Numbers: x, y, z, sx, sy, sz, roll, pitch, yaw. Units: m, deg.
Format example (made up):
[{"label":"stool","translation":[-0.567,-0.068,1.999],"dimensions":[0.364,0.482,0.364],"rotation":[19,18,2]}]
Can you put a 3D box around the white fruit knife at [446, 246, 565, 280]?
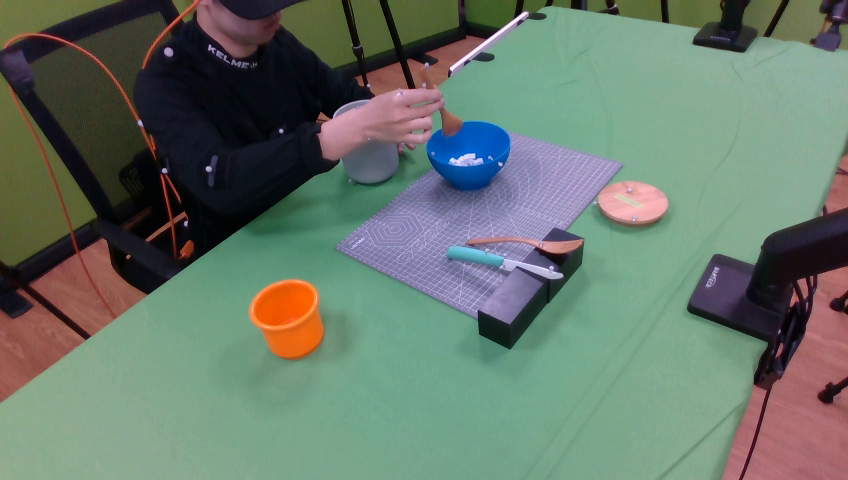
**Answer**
[{"label":"white fruit knife","translation":[0.111,0.033,0.868],"dimensions":[0.205,0.027,0.016],"rotation":[11,44,40]}]

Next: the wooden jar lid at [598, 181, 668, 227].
[{"label":"wooden jar lid","translation":[0.340,-0.058,0.989],"dimensions":[0.108,0.021,0.108],"rotation":[-5,41,5]}]

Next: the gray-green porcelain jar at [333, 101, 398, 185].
[{"label":"gray-green porcelain jar","translation":[-0.104,-0.174,1.108],"dimensions":[0.106,0.127,0.105],"rotation":[-4,40,4]}]

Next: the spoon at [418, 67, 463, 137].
[{"label":"spoon","translation":[0.024,-0.215,0.960],"dimensions":[0.041,0.195,0.021],"rotation":[-32,60,6]}]

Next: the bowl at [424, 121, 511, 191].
[{"label":"bowl","translation":[0.080,-0.141,1.074],"dimensions":[0.151,0.077,0.150],"rotation":[-4,40,4]}]

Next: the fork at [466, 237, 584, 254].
[{"label":"fork","translation":[0.142,0.005,0.894],"dimensions":[0.205,0.019,0.028],"rotation":[4,41,41]}]
